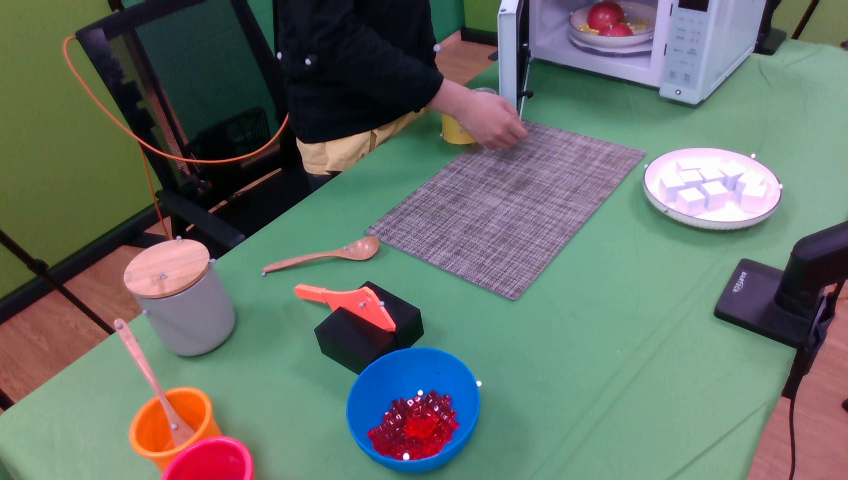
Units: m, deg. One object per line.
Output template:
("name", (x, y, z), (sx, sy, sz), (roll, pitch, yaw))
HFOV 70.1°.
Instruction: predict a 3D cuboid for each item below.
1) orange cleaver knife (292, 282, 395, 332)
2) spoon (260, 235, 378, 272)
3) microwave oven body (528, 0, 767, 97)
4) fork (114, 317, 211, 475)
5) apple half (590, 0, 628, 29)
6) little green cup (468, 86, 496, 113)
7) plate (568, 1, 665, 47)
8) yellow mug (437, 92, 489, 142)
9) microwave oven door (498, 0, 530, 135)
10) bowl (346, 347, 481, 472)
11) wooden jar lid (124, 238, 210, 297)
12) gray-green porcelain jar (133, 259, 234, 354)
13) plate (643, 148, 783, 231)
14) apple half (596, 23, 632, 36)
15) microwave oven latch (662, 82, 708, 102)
("orange cleaver knife", (-0.116, 0.091, 0.835), (0.209, 0.077, 0.012), (2, 32, 48))
("spoon", (-0.168, 0.024, 0.966), (0.194, 0.022, 0.041), (-10, 57, -3))
("microwave oven body", (0.473, -0.516, 1.313), (0.438, 0.261, 0.327), (26, 51, 34))
("fork", (-0.309, 0.180, 0.708), (0.028, 0.018, 0.207), (-29, 89, -26))
("apple half", (0.419, -0.522, 1.378), (0.081, 0.054, 0.074), (-41, 38, -16))
("little green cup", (0.123, -0.298, 1.285), (0.061, 0.039, 0.061), (-3, 41, 3))
("plate", (0.431, -0.486, 1.366), (0.209, 0.038, 0.208), (-4, 41, 4))
("yellow mug", (0.070, -0.255, 1.227), (0.100, 0.064, 0.129), (-29, 43, -30))
("microwave oven door", (0.185, -0.411, 1.225), (0.039, 0.245, 0.355), (3, 42, 12))
("bowl", (-0.008, 0.205, 0.691), (0.151, 0.077, 0.150), (-4, 40, 4))
("wooden jar lid", (-0.335, 0.039, 0.794), (0.108, 0.021, 0.108), (-2, 40, 2))
("gray-green porcelain jar", (-0.328, 0.087, 0.836), (0.106, 0.127, 0.105), (-4, 41, 4))
("plate", (0.464, -0.080, 0.986), (0.207, 0.039, 0.206), (-4, 41, 4))
("apple half", (0.417, -0.460, 1.328), (0.081, 0.033, 0.081), (-2, 38, 2))
("microwave oven latch", (0.517, -0.298, 1.202), (0.078, 0.029, 0.030), (27, 52, 34))
